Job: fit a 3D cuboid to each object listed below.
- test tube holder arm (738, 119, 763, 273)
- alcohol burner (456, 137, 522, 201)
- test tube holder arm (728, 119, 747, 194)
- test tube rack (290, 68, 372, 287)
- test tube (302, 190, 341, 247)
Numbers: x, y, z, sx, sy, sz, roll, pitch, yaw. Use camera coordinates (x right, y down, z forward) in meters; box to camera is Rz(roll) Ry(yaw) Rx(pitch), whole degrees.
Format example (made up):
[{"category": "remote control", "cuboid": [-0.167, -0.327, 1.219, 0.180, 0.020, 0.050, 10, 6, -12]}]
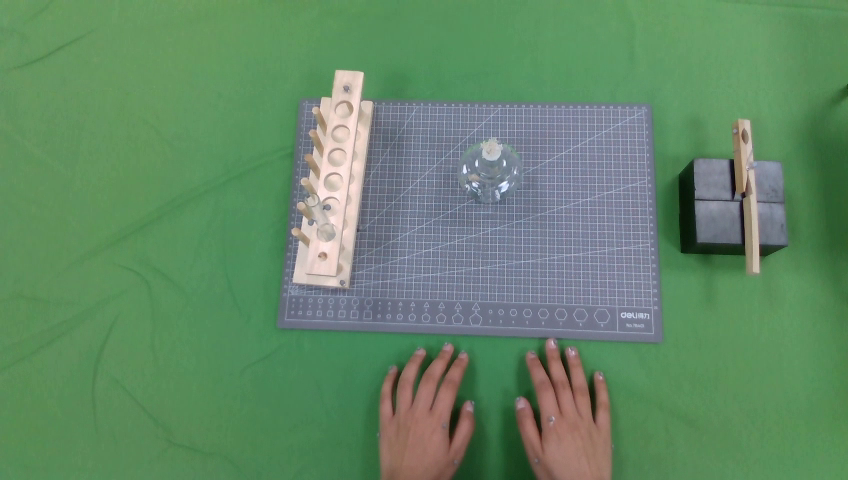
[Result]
[{"category": "test tube holder arm", "cuboid": [0.363, -0.052, 0.678, 0.013, 0.015, 0.177, 0, 77, -2]}, {"category": "alcohol burner", "cuboid": [0.075, -0.088, 0.696, 0.078, 0.119, 0.077, -1, 77, 4]}, {"category": "test tube holder arm", "cuboid": [0.357, -0.095, 0.688, 0.010, 0.015, 0.087, 1, 76, -2]}, {"category": "test tube rack", "cuboid": [-0.114, -0.073, 0.715, 0.067, 0.085, 0.241, 5, 77, 4]}, {"category": "test tube", "cuboid": [-0.108, -0.017, 0.651, 0.017, 0.151, 0.017, 0, 71, 1]}]
